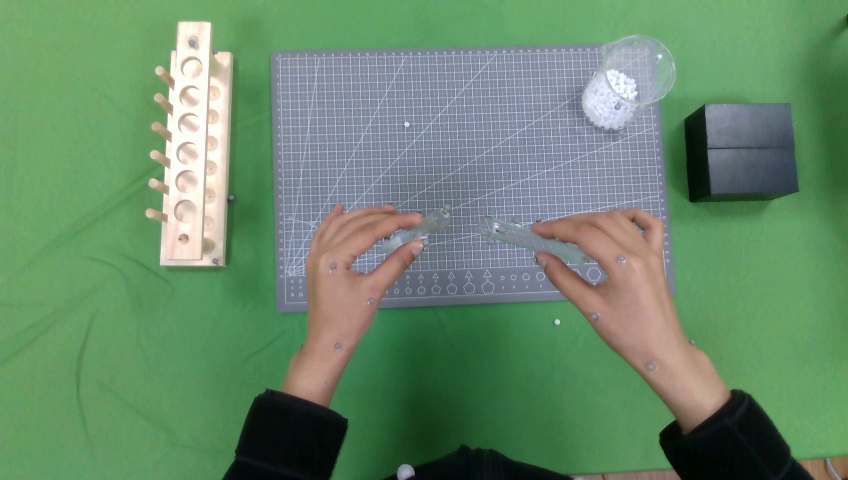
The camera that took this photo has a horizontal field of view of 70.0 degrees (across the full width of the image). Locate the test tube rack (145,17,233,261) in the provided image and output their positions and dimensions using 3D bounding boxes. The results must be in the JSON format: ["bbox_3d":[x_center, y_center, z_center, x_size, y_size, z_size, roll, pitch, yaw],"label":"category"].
[{"bbox_3d":[-0.252,-0.101,0.642,0.067,0.085,0.241,1,84,-2],"label":"test tube rack"}]

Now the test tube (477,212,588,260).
[{"bbox_3d":[0.093,-0.001,0.493,0.017,0.151,0.017,-11,73,41],"label":"test tube"}]

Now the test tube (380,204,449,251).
[{"bbox_3d":[-0.012,-0.008,0.533,0.017,0.150,0.017,4,79,-20],"label":"test tube"}]

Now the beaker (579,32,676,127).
[{"bbox_3d":[0.214,-0.171,0.663,0.084,0.100,0.074,35,83,3],"label":"beaker"}]
